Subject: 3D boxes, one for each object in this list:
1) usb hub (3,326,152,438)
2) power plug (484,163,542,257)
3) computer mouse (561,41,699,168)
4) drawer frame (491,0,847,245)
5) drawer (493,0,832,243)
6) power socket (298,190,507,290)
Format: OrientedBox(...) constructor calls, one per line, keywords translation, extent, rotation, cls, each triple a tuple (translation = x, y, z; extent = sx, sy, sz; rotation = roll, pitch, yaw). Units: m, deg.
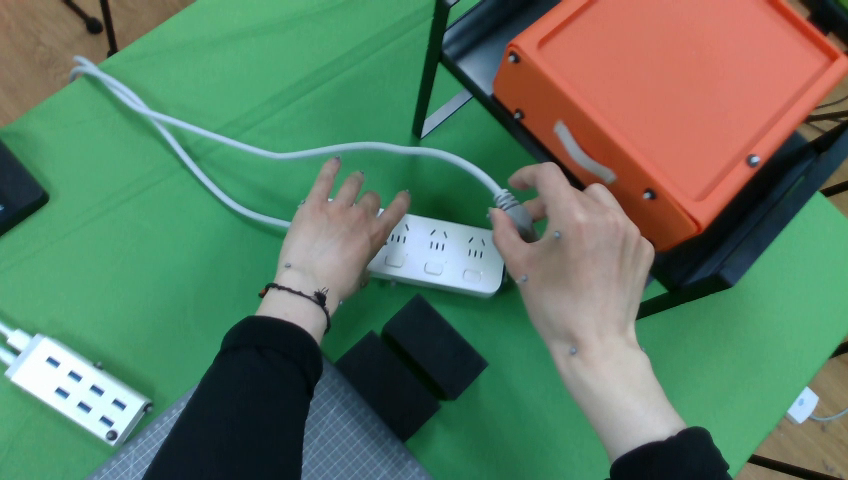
OrientedBox(translation=(-0.330, 0.136, 0.579), extent=(0.125, 0.025, 0.049), rotation=(32, 75, 2), cls="usb hub")
OrientedBox(translation=(0.070, -0.022, 0.481), extent=(0.035, 0.053, 0.072), rotation=(-11, 71, -9), cls="power plug")
OrientedBox(translation=(0.175, -0.117, 0.510), extent=(0.117, 0.041, 0.063), rotation=(43, 78, 7), cls="computer mouse")
OrientedBox(translation=(0.200, -0.141, 0.503), extent=(0.213, 0.083, 0.201), rotation=(-43, 84, -16), cls="drawer frame")
OrientedBox(translation=(0.199, -0.137, 0.502), extent=(0.211, 0.073, 0.194), rotation=(-41, 83, -15), cls="drawer")
OrientedBox(translation=(-0.019, 0.001, 0.650), extent=(0.227, 0.033, 0.072), rotation=(11, 74, -4), cls="power socket")
